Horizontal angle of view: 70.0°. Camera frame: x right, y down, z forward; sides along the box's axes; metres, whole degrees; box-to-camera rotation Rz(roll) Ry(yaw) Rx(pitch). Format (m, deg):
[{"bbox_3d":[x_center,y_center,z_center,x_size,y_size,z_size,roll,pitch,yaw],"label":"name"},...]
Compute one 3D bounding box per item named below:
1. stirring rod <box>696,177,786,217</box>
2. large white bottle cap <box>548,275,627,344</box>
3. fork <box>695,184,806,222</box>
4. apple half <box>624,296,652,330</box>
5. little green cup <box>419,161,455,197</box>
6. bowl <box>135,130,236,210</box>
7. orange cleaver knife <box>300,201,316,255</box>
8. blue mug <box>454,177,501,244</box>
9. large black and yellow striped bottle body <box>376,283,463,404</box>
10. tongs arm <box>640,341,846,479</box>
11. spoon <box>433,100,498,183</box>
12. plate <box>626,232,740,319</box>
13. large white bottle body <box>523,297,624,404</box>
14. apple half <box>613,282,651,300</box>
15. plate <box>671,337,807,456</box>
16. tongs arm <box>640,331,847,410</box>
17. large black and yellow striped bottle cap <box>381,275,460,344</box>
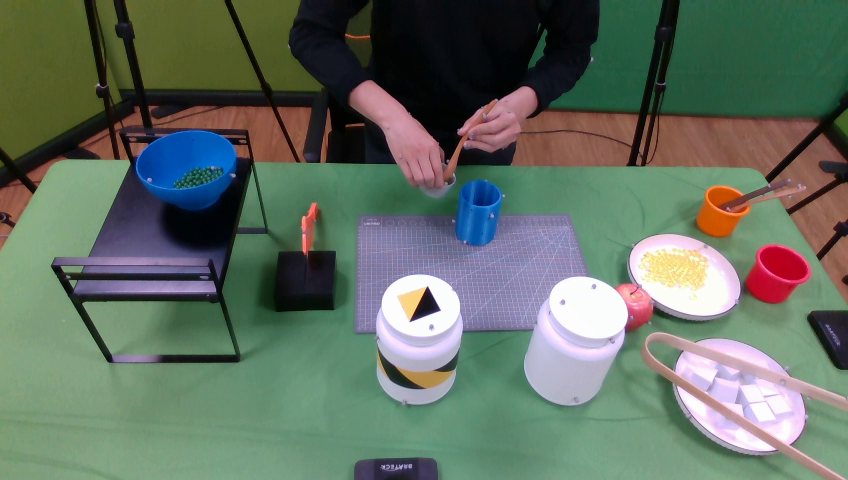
[{"bbox_3d":[0.648,-0.087,1.244,0.176,0.006,0.014,-25,50,29],"label":"stirring rod"},{"bbox_3d":[0.240,0.100,0.890,0.115,0.018,0.114,3,47,-3],"label":"large white bottle cap"},{"bbox_3d":[0.658,-0.074,1.230,0.207,0.019,0.028,-24,33,36],"label":"fork"},{"bbox_3d":[0.368,0.135,1.060,0.081,0.081,0.032,-11,43,-15],"label":"apple half"},{"bbox_3d":[0.021,-0.109,1.092,0.062,0.039,0.061,17,48,-19],"label":"little green cup"},{"bbox_3d":[-0.375,-0.102,0.977,0.151,0.077,0.150,2,46,-2],"label":"bowl"},{"bbox_3d":[-0.221,-0.028,1.161,0.012,0.077,0.210,-2,16,-4],"label":"orange cleaver knife"},{"bbox_3d":[0.106,-0.067,1.208,0.082,0.106,0.116,6,46,1],"label":"blue mug"},{"bbox_3d":[-0.010,0.155,0.937,0.131,0.185,0.130,2,47,-2],"label":"large black and yellow striped bottle body"},{"bbox_3d":[0.500,0.278,0.920,0.386,0.028,0.028,34,60,22],"label":"tongs arm"},{"bbox_3d":[0.066,-0.164,1.036,0.021,0.194,0.041,47,35,18],"label":"spoon"},{"bbox_3d":[0.489,0.070,1.156,0.209,0.038,0.208,3,46,-3],"label":"plate"},{"bbox_3d":[0.235,0.159,0.952,0.131,0.185,0.130,2,47,-2],"label":"large white bottle body"},{"bbox_3d":[0.356,0.109,1.086,0.081,0.075,0.053,-14,45,-12],"label":"apple half"},{"bbox_3d":[0.503,0.254,0.984,0.208,0.039,0.206,2,46,-2],"label":"plate"},{"bbox_3d":[0.543,0.226,0.969,0.384,0.026,0.050,22,53,13],"label":"tongs arm"},{"bbox_3d":[-0.005,0.098,0.875,0.115,0.019,0.114,2,45,-2],"label":"large black and yellow striped bottle cap"}]
